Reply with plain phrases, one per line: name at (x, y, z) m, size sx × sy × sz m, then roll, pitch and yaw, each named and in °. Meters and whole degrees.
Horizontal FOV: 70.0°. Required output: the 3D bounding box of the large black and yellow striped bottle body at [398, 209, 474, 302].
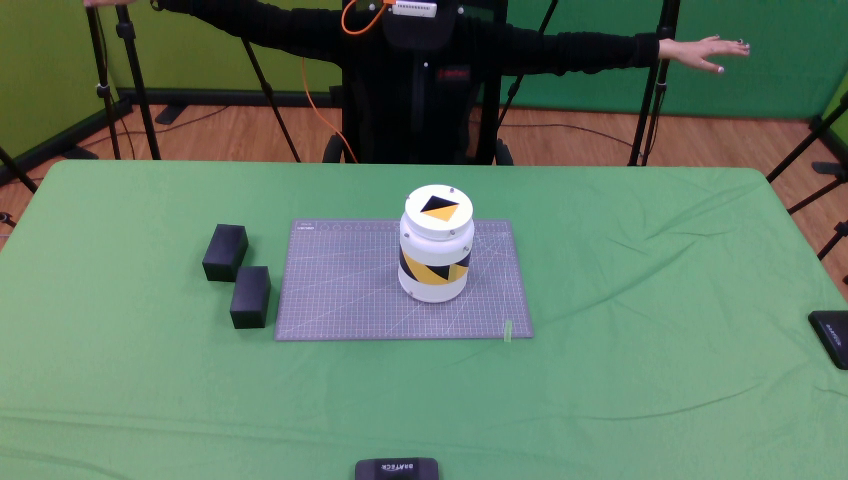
large black and yellow striped bottle body at (0.020, 0.008, 1.074) m, size 0.131 × 0.185 × 0.130 m, roll 2°, pitch 46°, yaw -2°

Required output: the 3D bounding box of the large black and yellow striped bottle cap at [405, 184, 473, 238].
large black and yellow striped bottle cap at (0.025, -0.051, 1.014) m, size 0.115 × 0.019 × 0.114 m, roll 2°, pitch 48°, yaw -2°
